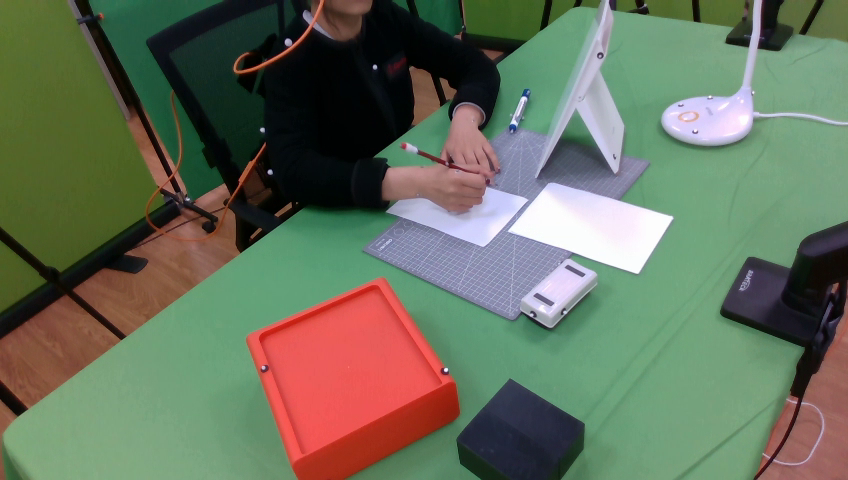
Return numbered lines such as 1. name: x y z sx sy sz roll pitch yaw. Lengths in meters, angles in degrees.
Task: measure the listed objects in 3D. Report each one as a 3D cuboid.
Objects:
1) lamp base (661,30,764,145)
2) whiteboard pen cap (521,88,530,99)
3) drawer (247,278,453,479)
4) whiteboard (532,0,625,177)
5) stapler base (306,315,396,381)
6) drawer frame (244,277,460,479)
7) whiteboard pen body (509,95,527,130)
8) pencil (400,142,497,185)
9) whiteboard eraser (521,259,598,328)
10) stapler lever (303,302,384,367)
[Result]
1. lamp base: 0.535 -0.287 1.096 0.179 0.181 0.159 -10 40 -4
2. whiteboard pen cap: 0.218 -0.312 1.301 0.018 0.018 0.033 6 46 17
3. drawer: -0.096 0.167 0.758 0.195 0.073 0.210 -22 43 -16
4. whiteboard: 0.321 -0.258 1.050 0.144 0.306 0.217 21 45 5
5. stapler base: -0.101 0.138 0.819 0.131 0.024 0.041 -31 37 -13
6. drawer frame: -0.093 0.167 0.755 0.202 0.083 0.211 -23 43 -17
7. whiteboard pen body: 0.199 -0.273 1.261 0.017 0.017 0.140 8 44 19
8. pencil: 0.045 -0.122 0.993 0.196 0.012 0.012 19 30 -29
9. whiteboard eraser: 0.189 0.076 0.843 0.055 0.042 0.113 29 53 37
10. stapler lever: -0.108 0.123 0.805 0.118 0.040 0.026 -27 36 -15
